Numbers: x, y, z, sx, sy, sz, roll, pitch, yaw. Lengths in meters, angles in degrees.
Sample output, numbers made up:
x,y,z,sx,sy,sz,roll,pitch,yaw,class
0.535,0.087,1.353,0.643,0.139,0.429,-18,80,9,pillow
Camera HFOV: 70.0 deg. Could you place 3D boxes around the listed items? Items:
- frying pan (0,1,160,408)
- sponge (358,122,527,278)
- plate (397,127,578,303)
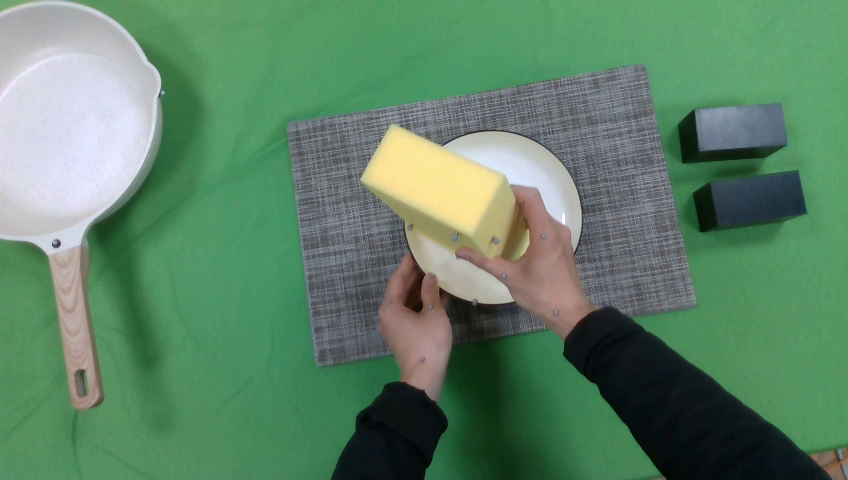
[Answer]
x,y,z,sx,sy,sz,roll,pitch,yaw,class
-0.428,-0.044,0.706,0.307,0.103,0.484,-17,74,1,frying pan
0.030,-0.031,0.614,0.117,0.208,0.061,26,84,20,sponge
0.073,-0.028,0.712,0.207,0.039,0.207,0,82,2,plate
